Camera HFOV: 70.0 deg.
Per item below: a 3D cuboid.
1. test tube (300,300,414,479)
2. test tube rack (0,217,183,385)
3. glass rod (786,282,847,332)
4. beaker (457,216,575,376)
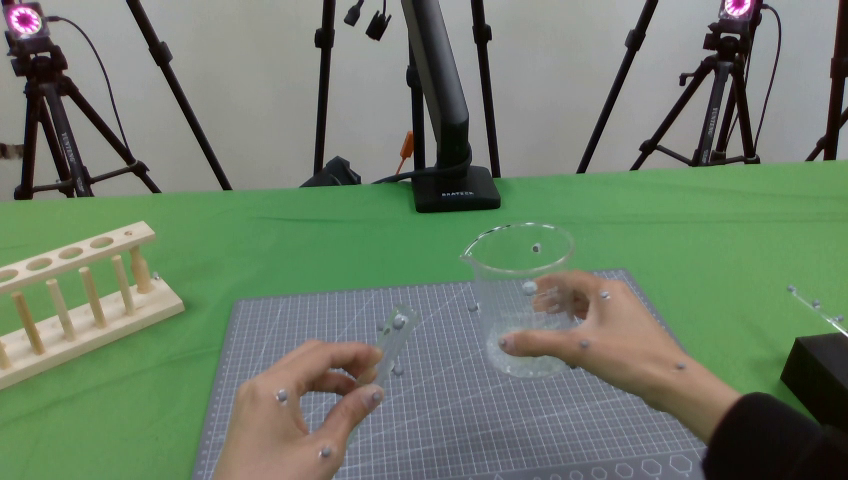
[{"bbox_3d":[-0.044,0.101,0.372,0.017,0.150,0.017,25,18,-8],"label":"test tube"},{"bbox_3d":[-0.371,0.066,0.583,0.243,0.086,0.066,-25,40,-34],"label":"test tube rack"},{"bbox_3d":[0.385,0.092,0.513,0.008,0.008,0.197,-9,33,-14],"label":"glass rod"},{"bbox_3d":[0.071,0.043,0.449,0.084,0.101,0.073,-4,28,10],"label":"beaker"}]
